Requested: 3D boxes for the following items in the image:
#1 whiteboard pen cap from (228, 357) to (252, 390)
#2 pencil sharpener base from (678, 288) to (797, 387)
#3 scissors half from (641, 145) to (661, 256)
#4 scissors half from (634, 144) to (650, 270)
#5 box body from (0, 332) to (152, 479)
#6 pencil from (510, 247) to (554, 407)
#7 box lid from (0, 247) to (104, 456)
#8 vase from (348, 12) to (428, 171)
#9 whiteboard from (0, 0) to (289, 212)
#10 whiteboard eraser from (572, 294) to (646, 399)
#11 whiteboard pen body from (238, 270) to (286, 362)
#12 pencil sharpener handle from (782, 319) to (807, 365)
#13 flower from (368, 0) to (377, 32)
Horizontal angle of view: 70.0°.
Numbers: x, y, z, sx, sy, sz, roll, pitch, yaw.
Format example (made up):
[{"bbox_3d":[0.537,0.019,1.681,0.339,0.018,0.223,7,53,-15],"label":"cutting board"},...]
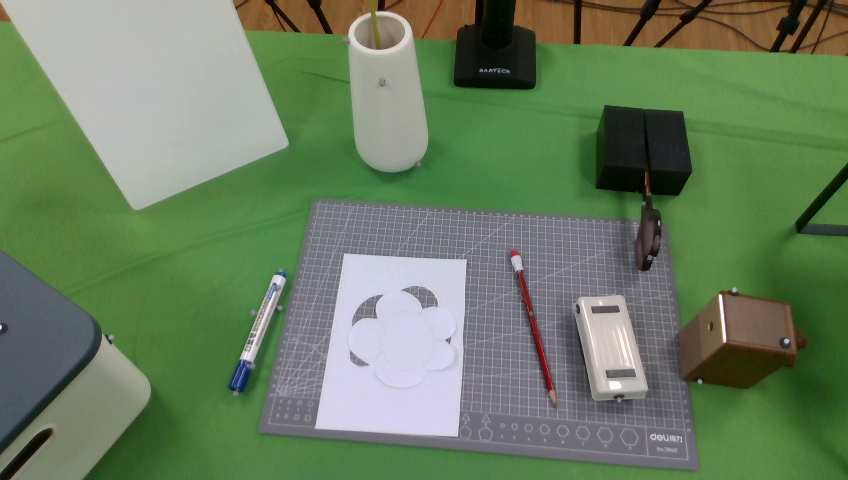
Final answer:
[{"bbox_3d":[-0.197,0.144,0.654,0.018,0.018,0.033,9,55,7],"label":"whiteboard pen cap"},{"bbox_3d":[0.318,0.103,0.621,0.076,0.108,0.061,9,58,2],"label":"pencil sharpener base"},{"bbox_3d":[0.267,-0.054,0.722,0.013,0.040,0.173,10,50,2],"label":"scissors half"},{"bbox_3d":[0.267,-0.044,0.739,0.013,0.040,0.174,8,68,7],"label":"scissors half"},{"bbox_3d":[-0.490,0.128,0.587,0.362,0.162,0.253,28,64,16],"label":"box body"},{"bbox_3d":[0.123,0.093,0.686,0.012,0.012,0.192,-8,61,-3],"label":"pencil"},{"bbox_3d":[-0.493,0.088,0.524,0.369,0.015,0.262,28,63,16],"label":"box lid"},{"bbox_3d":[-0.046,-0.175,0.742,0.098,0.202,0.097,-1,58,2],"label":"vase"},{"bbox_3d":[-0.336,-0.231,0.753,0.217,0.308,0.142,-26,43,-14],"label":"whiteboard"},{"bbox_3d":[0.197,0.114,0.653,0.055,0.042,0.111,-4,59,0],"label":"whiteboard eraser"},{"bbox_3d":[-0.186,0.095,0.686,0.017,0.017,0.139,10,58,8],"label":"whiteboard pen body"},{"bbox_3d":[0.369,0.106,0.607,0.030,0.068,0.035,9,53,3],"label":"pencil sharpener handle"},{"bbox_3d":[-0.054,-0.230,0.678,0.044,0.365,0.038,-3,41,3],"label":"flower"}]
